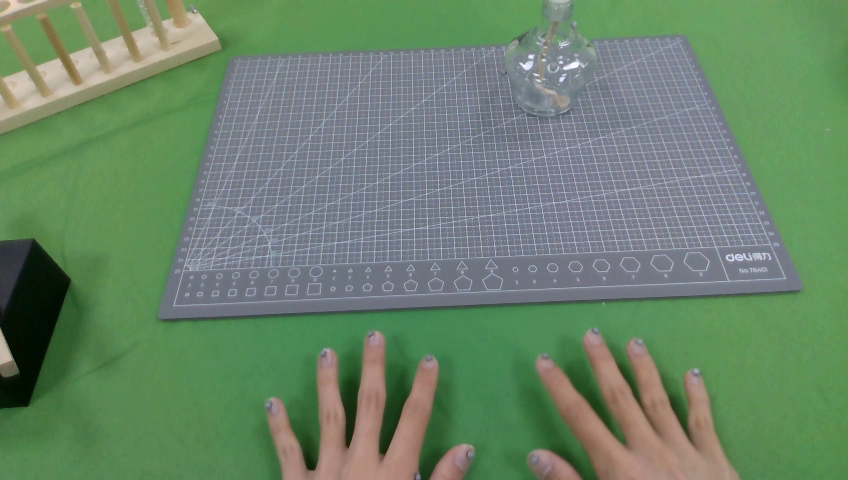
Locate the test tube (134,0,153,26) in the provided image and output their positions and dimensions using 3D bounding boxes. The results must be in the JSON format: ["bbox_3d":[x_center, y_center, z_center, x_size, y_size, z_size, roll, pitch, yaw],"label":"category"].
[{"bbox_3d":[-0.278,-0.265,0.552,0.017,0.151,0.017,-3,51,4],"label":"test tube"}]

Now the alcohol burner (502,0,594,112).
[{"bbox_3d":[0.105,-0.167,0.504,0.078,0.120,0.077,-1,51,2],"label":"alcohol burner"}]

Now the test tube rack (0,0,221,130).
[{"bbox_3d":[-0.326,-0.189,0.560,0.242,0.086,0.066,-28,57,-17],"label":"test tube rack"}]

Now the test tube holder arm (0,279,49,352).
[{"bbox_3d":[-0.289,0.015,0.389,0.177,0.015,0.013,34,64,25],"label":"test tube holder arm"}]
